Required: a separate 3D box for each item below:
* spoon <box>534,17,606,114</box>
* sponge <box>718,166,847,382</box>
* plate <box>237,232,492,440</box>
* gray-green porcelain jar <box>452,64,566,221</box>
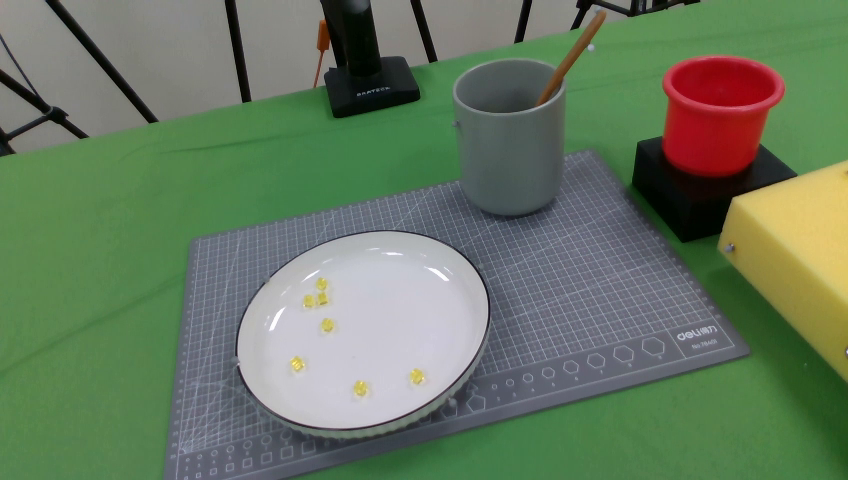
[{"bbox_3d":[0.111,-0.119,0.567,0.022,0.194,0.041,19,36,-11],"label":"spoon"},{"bbox_3d":[0.336,0.039,0.440,0.118,0.061,0.204,-19,45,-9],"label":"sponge"},{"bbox_3d":[-0.047,0.075,0.504,0.207,0.039,0.205,-5,42,5],"label":"plate"},{"bbox_3d":[0.085,-0.091,0.597,0.106,0.128,0.105,-5,42,5],"label":"gray-green porcelain jar"}]
